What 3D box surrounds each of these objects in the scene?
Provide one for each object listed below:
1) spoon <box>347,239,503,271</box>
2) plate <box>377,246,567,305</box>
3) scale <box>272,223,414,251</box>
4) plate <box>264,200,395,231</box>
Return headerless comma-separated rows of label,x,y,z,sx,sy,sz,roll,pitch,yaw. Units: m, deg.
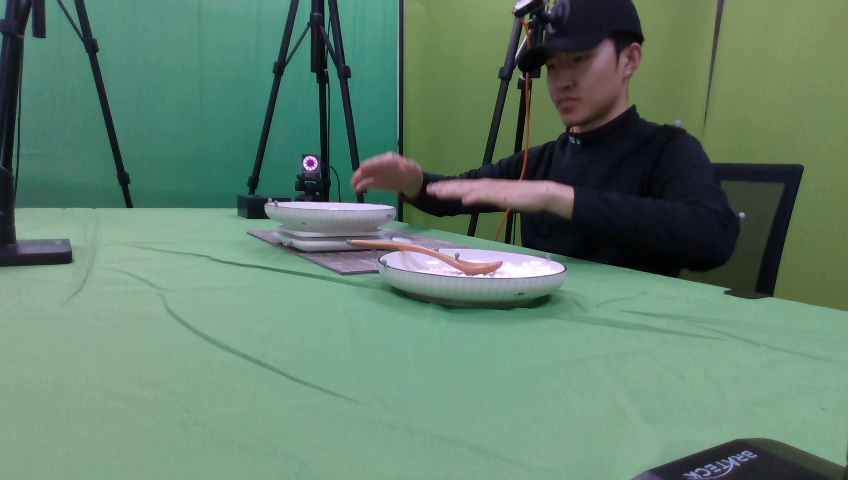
spoon,-0.002,0.014,0.721,0.193,0.021,0.042,12,9,17
plate,0.052,0.039,0.671,0.209,0.038,0.209,2,6,0
scale,-0.131,-0.008,0.984,0.202,0.031,0.148,-2,8,-32
plate,-0.150,-0.040,0.971,0.208,0.039,0.207,2,7,0
